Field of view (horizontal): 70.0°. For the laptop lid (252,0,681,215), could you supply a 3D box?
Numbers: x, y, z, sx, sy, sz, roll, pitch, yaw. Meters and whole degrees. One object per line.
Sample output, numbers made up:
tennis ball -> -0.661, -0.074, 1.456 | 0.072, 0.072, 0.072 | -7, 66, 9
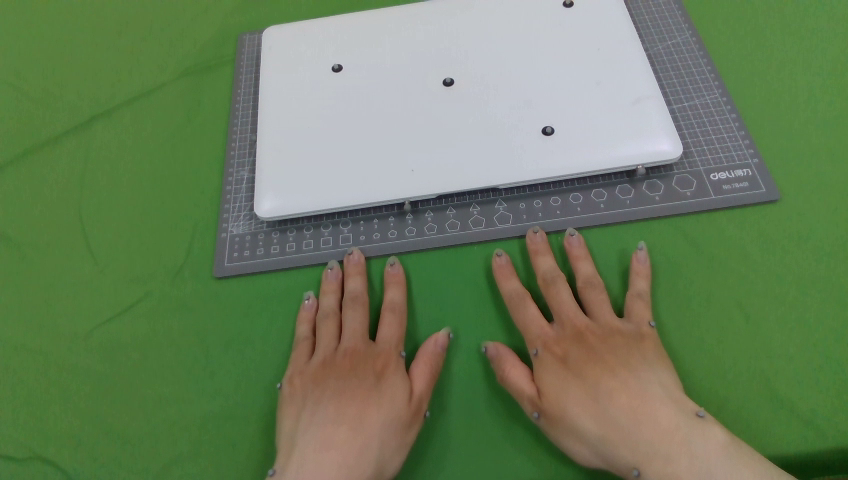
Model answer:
laptop lid -> 0.022, -0.143, 0.543 | 0.357, 0.013, 0.239 | -6, 60, 3

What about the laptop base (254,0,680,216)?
laptop base -> 0.023, -0.138, 0.554 | 0.354, 0.023, 0.233 | -8, 62, 2
